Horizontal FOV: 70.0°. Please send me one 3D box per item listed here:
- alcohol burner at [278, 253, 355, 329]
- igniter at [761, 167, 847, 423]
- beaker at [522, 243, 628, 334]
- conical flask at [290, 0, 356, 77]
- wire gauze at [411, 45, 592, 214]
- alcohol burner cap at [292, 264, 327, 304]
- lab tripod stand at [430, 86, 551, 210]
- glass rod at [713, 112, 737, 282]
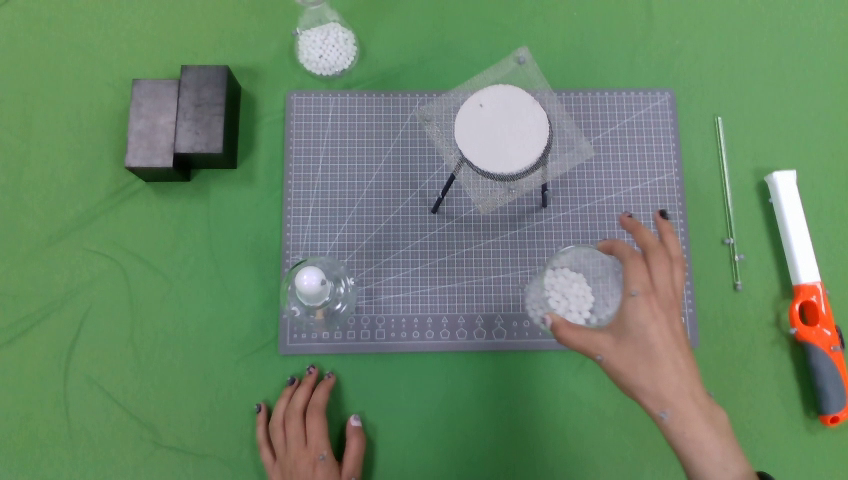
[{"bbox_3d":[-0.109,0.048,0.600,0.078,0.119,0.077,1,77,-3],"label":"alcohol burner"},{"bbox_3d":[0.413,0.055,0.657,0.057,0.025,0.275,-5,79,-13],"label":"igniter"},{"bbox_3d":[0.136,0.048,0.565,0.084,0.100,0.073,-17,78,-6],"label":"beaker"},{"bbox_3d":[-0.115,-0.235,0.652,0.075,0.122,0.075,0,78,-1],"label":"conical flask"},{"bbox_3d":[0.071,-0.102,0.554,0.125,0.011,0.121,-30,83,-6],"label":"wire gauze"},{"bbox_3d":[-0.107,0.039,0.565,0.034,0.048,0.033,2,70,-7],"label":"alcohol burner cap"},{"bbox_3d":[0.069,-0.084,0.619,0.148,0.132,0.148,0,81,-1],"label":"lab tripod stand"},{"bbox_3d":[0.341,-0.051,0.685,0.008,0.008,0.199,-1,79,-2],"label":"glass rod"}]
